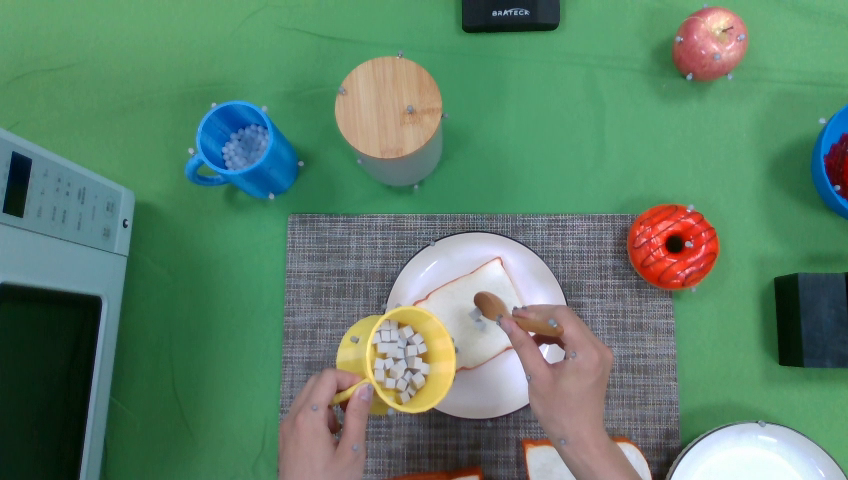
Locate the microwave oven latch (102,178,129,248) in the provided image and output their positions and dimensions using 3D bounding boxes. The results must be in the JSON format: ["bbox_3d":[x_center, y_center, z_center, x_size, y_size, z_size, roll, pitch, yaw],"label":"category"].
[{"bbox_3d":[-0.362,-0.031,0.699,0.030,0.029,0.079,5,83,2],"label":"microwave oven latch"}]

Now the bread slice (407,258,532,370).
[{"bbox_3d":[0.044,0.092,0.685,0.131,0.019,0.104,-24,79,-6],"label":"bread slice"}]

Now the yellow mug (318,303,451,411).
[{"bbox_3d":[-0.043,0.121,0.582,0.131,0.064,0.100,-26,92,-36],"label":"yellow mug"}]

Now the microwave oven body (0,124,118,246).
[{"bbox_3d":[-0.526,0.119,0.586,0.326,0.261,0.440,3,82,2],"label":"microwave oven body"}]

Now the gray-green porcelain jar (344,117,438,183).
[{"bbox_3d":[-0.037,-0.125,0.675,0.106,0.127,0.105,0,81,2],"label":"gray-green porcelain jar"}]

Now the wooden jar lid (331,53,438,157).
[{"bbox_3d":[-0.039,-0.135,0.614,0.108,0.021,0.108,0,80,3],"label":"wooden jar lid"}]

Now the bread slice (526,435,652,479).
[{"bbox_3d":[0.178,0.262,0.630,0.135,0.018,0.106,-5,78,-19],"label":"bread slice"}]

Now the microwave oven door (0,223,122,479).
[{"bbox_3d":[-0.384,0.169,0.568,0.039,0.244,0.354,3,81,3],"label":"microwave oven door"}]

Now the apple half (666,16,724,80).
[{"bbox_3d":[0.303,-0.212,0.701,0.033,0.081,0.081,-32,81,-7],"label":"apple half"}]

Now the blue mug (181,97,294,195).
[{"bbox_3d":[-0.216,-0.097,0.688,0.116,0.106,0.082,-25,81,-1],"label":"blue mug"}]

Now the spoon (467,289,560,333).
[{"bbox_3d":[0.080,0.071,0.569,0.021,0.193,0.042,-34,99,-9],"label":"spoon"}]

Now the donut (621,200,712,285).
[{"bbox_3d":[0.272,0.003,0.683,0.099,0.048,0.098,0,83,2],"label":"donut"}]

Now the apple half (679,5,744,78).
[{"bbox_3d":[0.335,-0.234,0.704,0.053,0.075,0.080,-32,77,-8],"label":"apple half"}]

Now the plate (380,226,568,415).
[{"bbox_3d":[0.055,0.089,0.682,0.207,0.039,0.207,0,82,2],"label":"plate"}]

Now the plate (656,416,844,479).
[{"bbox_3d":[0.344,0.293,0.646,0.209,0.038,0.208,0,82,2],"label":"plate"}]

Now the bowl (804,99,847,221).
[{"bbox_3d":[0.489,-0.081,0.674,0.151,0.077,0.151,0,82,2],"label":"bowl"}]
